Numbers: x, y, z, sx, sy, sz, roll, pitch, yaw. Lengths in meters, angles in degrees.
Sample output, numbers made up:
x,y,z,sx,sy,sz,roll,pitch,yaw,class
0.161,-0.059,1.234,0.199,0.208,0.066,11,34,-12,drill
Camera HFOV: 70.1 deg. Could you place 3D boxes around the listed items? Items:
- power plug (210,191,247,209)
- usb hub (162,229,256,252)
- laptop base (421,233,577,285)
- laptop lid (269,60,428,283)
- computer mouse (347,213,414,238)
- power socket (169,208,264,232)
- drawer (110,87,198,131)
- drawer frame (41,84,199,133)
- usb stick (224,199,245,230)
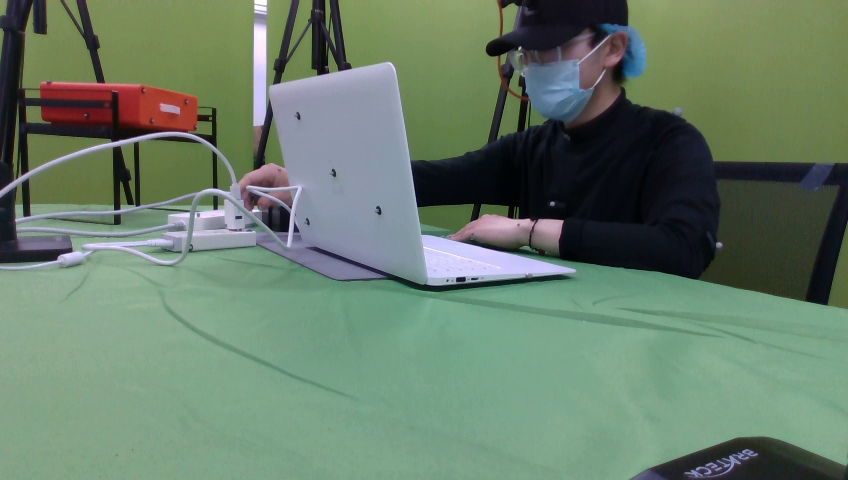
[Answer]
x,y,z,sx,sy,sz,roll,pitch,yaw,class
-0.386,-0.071,1.204,0.072,0.052,0.035,8,11,25,power plug
-0.315,0.000,0.893,0.049,0.025,0.126,9,10,41,usb hub
0.007,0.022,0.850,0.237,0.023,0.352,1,7,-34,laptop base
-0.110,-0.087,0.752,0.013,0.241,0.355,-18,19,-30,laptop lid
-0.079,-0.025,1.080,0.117,0.041,0.062,-5,12,-18,computer mouse
-0.381,-0.038,1.128,0.072,0.032,0.227,4,8,17,power socket
-0.602,-0.263,1.225,0.211,0.073,0.195,3,8,10,drawer
-0.604,-0.264,1.225,0.213,0.082,0.202,3,8,8,drawer frame
-0.289,-0.032,0.925,0.027,0.059,0.021,11,13,36,usb stick
